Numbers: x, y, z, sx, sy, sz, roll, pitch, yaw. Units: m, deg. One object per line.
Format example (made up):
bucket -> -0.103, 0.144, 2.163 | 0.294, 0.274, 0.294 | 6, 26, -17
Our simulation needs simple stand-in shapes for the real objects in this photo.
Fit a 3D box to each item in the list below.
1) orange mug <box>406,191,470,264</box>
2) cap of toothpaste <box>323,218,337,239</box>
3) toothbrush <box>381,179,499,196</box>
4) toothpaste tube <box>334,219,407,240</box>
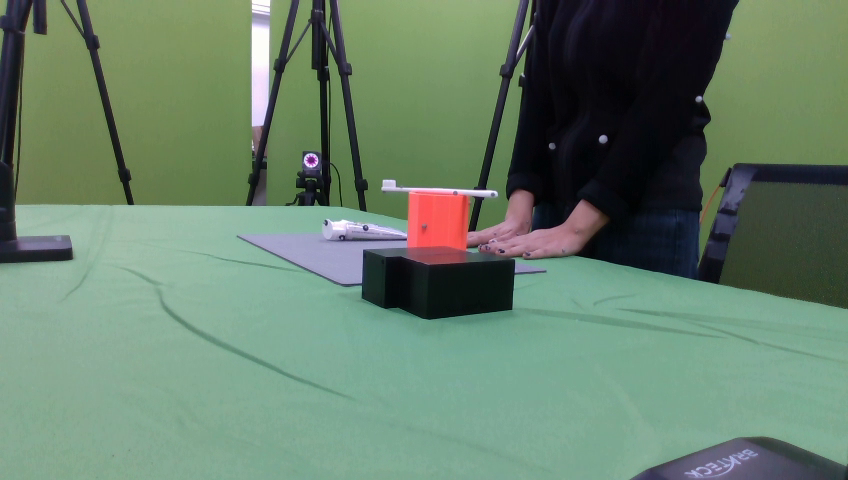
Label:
orange mug -> 0.027, -0.023, 0.866 | 0.083, 0.101, 0.126 | 6, 12, 24
cap of toothpaste -> -0.157, -0.020, 1.013 | 0.011, 0.037, 0.037 | -8, 12, -40
toothbrush -> 0.019, -0.073, 0.841 | 0.181, 0.016, 0.014 | 6, 2, 27
toothpaste tube -> -0.084, -0.015, 1.052 | 0.166, 0.034, 0.055 | 3, 14, -29
